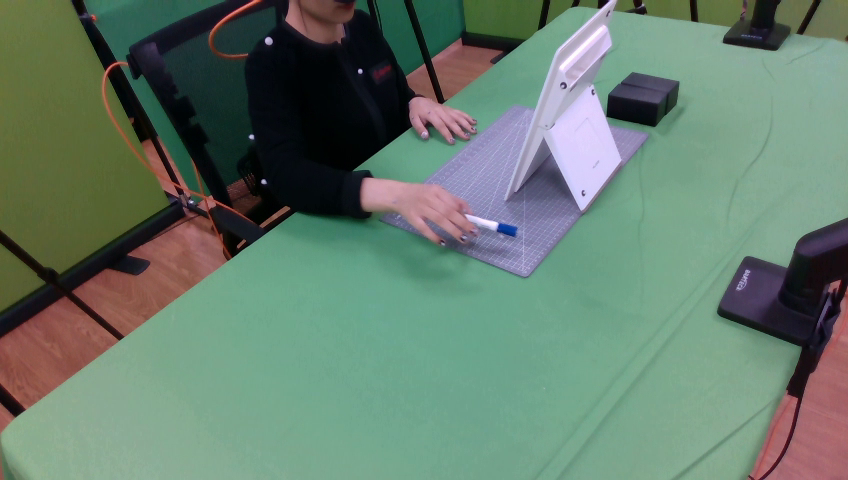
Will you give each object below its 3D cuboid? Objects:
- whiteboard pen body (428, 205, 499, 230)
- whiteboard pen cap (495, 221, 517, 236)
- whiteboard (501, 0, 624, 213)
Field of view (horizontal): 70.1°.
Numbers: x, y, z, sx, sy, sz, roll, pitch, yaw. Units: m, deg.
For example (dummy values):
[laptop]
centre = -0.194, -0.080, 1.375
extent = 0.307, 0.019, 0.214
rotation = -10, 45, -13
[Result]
[whiteboard pen body]
centre = 0.072, -0.033, 0.958
extent = 0.140, 0.017, 0.017
rotation = 15, 46, 16
[whiteboard pen cap]
centre = 0.127, -0.018, 0.943
extent = 0.033, 0.018, 0.018
rotation = 15, 46, 17
[whiteboard]
centre = 0.271, -0.189, 0.977
extent = 0.143, 0.306, 0.218
rotation = 34, 53, 16
